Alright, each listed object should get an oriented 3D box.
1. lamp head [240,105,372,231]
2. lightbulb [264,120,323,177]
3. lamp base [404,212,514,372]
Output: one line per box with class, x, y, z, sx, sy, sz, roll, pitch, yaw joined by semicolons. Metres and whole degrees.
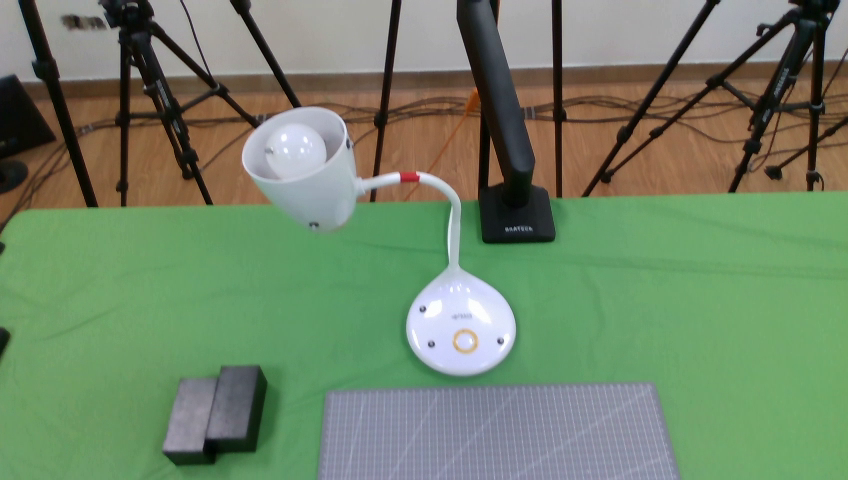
lamp head;-0.120;-0.070;0.662;0.112;0.124;0.111;-10;52;13
lightbulb;-0.130;-0.079;0.640;0.059;0.109;0.059;-5;56;8
lamp base;0.046;0.063;0.830;0.161;0.182;0.177;-12;49;-8
